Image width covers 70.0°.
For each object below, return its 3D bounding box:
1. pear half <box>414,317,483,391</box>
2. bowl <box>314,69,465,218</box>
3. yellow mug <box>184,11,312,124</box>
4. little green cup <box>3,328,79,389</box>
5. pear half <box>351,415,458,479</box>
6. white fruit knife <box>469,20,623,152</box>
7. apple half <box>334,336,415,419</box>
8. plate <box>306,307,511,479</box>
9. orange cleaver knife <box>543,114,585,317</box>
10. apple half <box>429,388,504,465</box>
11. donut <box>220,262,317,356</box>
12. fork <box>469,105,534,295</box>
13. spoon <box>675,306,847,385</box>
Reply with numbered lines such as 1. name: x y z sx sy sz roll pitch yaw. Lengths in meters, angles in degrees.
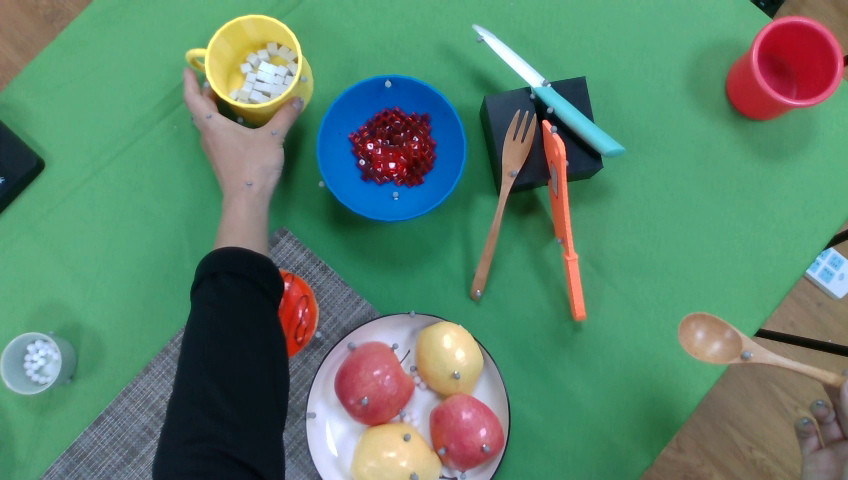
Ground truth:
1. pear half: 0.023 0.124 0.617 0.070 0.031 0.088 -18 95 20
2. bowl: -0.035 -0.092 0.637 0.151 0.077 0.151 0 84 -2
3. yellow mug: -0.191 -0.185 0.648 0.131 0.064 0.099 10 84 1
4. little green cup: -0.393 0.121 0.626 0.061 0.039 0.061 0 84 -1
5. pear half: -0.016 0.221 0.607 0.110 0.056 0.076 16 88 -4
6. white fruit knife: 0.123 -0.161 0.629 0.207 0.016 0.027 43 56 5
7. apple half: -0.052 0.141 0.610 0.074 0.053 0.081 -30 89 -4
8. plate: -0.016 0.173 0.625 0.209 0.038 0.208 0 84 -1
9. orange cleaver knife: 0.144 -0.023 0.631 0.012 0.076 0.212 -12 110 2
10. apple half: 0.036 0.191 0.608 0.081 0.033 0.081 2 99 16
11. donut: -0.161 0.072 0.629 0.099 0.048 0.099 0 86 0
12. fork: 0.077 -0.037 0.629 0.028 0.018 0.208 11 104 -9
13. spoon: 0.302 0.099 0.489 0.192 0.022 0.041 19 72 21
